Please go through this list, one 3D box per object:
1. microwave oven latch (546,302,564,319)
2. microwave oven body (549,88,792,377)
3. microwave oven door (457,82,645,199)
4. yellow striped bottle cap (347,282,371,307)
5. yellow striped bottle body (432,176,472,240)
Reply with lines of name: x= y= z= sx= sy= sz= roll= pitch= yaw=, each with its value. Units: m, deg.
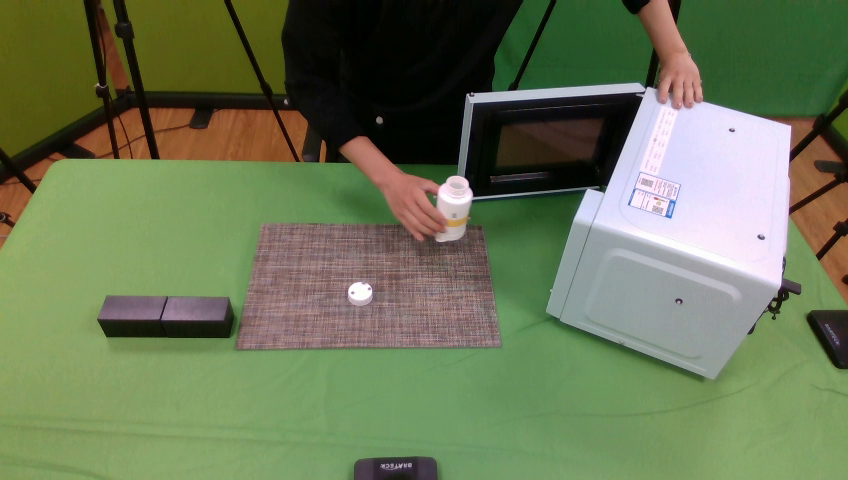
microwave oven latch: x=0.242 y=0.102 z=1.081 sx=0.030 sy=0.029 sz=0.079 roll=22 pitch=48 yaw=17
microwave oven body: x=0.456 y=-0.028 z=1.088 sx=0.325 sy=0.261 sz=0.440 roll=20 pitch=47 yaw=16
microwave oven door: x=0.248 y=-0.198 z=1.229 sx=0.356 sy=0.245 sz=0.039 roll=-6 pitch=47 yaw=-10
yellow striped bottle cap: x=-0.117 y=0.098 z=1.093 sx=0.044 sy=0.019 sz=0.044 roll=3 pitch=45 yaw=-3
yellow striped bottle body: x=0.052 y=-0.061 z=1.106 sx=0.063 sy=0.121 sz=0.062 roll=4 pitch=46 yaw=-4
